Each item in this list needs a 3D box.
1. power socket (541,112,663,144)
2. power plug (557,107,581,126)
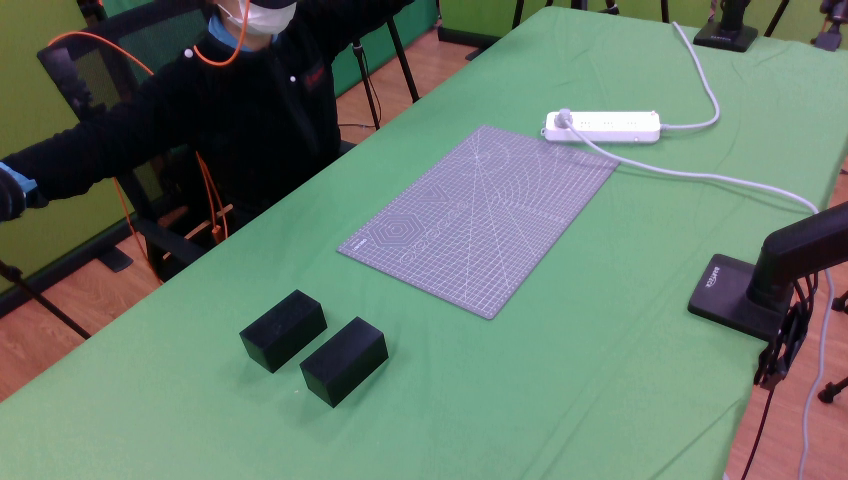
[{"bbox_3d":[0.341,-0.217,1.164,0.226,0.033,0.072,4,43,12],"label":"power socket"},{"bbox_3d":[0.286,-0.238,1.162,0.073,0.035,0.052,-14,30,-42],"label":"power plug"}]
